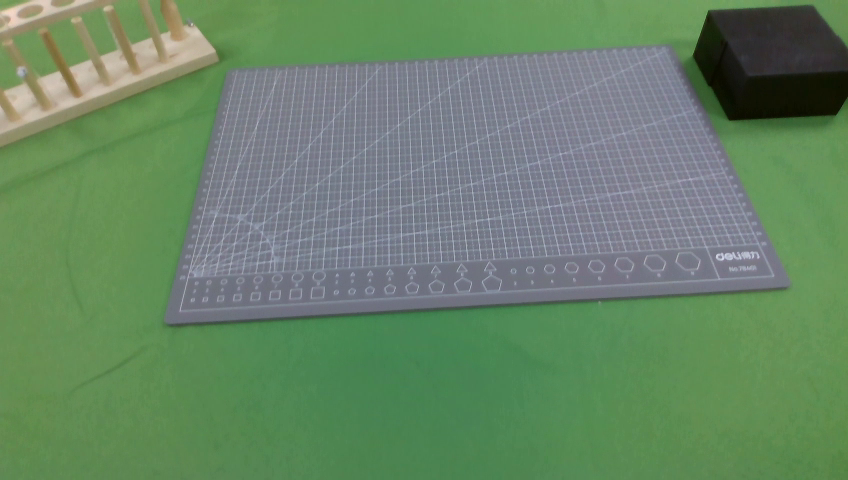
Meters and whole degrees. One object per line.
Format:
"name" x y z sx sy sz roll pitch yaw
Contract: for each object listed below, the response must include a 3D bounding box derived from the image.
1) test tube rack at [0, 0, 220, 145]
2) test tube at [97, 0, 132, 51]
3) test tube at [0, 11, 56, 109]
"test tube rack" -0.330 -0.177 0.570 0.242 0.086 0.066 -29 56 -19
"test tube" -0.302 -0.240 0.555 0.017 0.151 0.017 0 51 1
"test tube" -0.356 -0.174 0.512 0.017 0.152 0.017 -1 51 2
